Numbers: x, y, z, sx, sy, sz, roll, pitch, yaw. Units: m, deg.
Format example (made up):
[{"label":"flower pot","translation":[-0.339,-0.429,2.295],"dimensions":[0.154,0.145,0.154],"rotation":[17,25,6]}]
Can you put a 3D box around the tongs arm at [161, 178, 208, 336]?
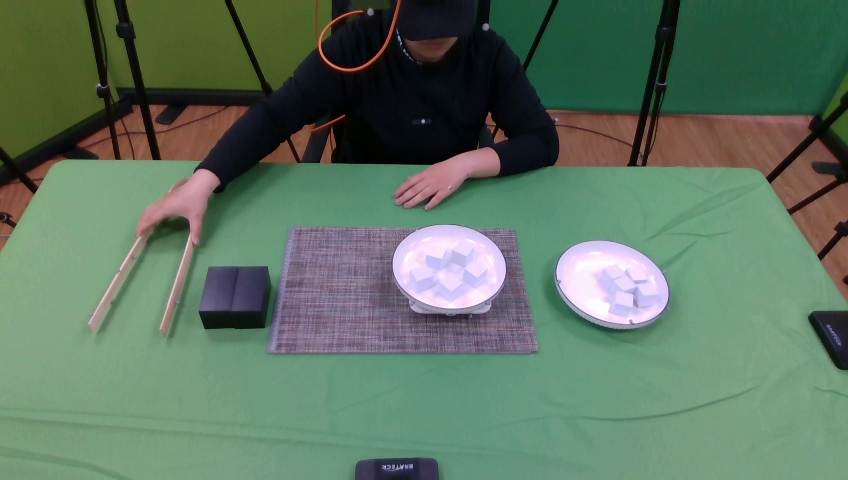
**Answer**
[{"label":"tongs arm","translation":[-0.448,0.016,1.139],"dimensions":[0.028,0.028,0.385],"rotation":[-4,46,-2]}]

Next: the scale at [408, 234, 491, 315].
[{"label":"scale","translation":[0.045,0.055,1.135],"dimensions":[0.149,0.032,0.199],"rotation":[1,46,-3]}]

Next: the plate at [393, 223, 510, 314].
[{"label":"plate","translation":[0.048,0.053,1.091],"dimensions":[0.208,0.039,0.206],"rotation":[1,46,-1]}]

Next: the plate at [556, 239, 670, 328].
[{"label":"plate","translation":[0.347,0.083,1.130],"dimensions":[0.209,0.038,0.208],"rotation":[2,47,-2]}]

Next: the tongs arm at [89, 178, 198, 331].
[{"label":"tongs arm","translation":[-0.514,0.012,1.137],"dimensions":[0.051,0.026,0.382],"rotation":[5,45,2]}]
